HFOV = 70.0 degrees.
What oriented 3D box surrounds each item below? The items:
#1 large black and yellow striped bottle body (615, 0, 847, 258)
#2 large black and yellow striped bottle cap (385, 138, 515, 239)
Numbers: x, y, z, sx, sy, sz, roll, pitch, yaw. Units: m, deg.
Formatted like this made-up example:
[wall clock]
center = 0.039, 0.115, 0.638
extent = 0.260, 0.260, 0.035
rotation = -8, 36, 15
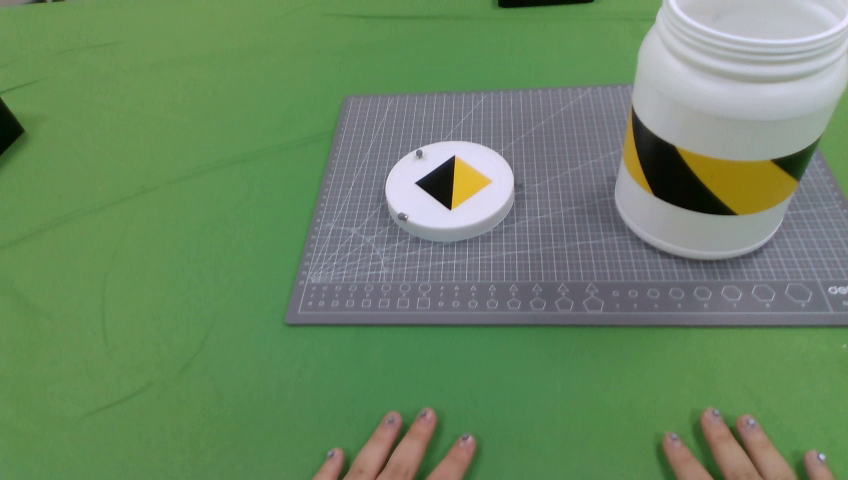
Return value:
[large black and yellow striped bottle body]
center = 0.216, -0.091, 0.437
extent = 0.131, 0.186, 0.129
rotation = -4, 49, 5
[large black and yellow striped bottle cap]
center = 0.022, -0.049, 0.539
extent = 0.115, 0.019, 0.114
rotation = -3, 49, 3
